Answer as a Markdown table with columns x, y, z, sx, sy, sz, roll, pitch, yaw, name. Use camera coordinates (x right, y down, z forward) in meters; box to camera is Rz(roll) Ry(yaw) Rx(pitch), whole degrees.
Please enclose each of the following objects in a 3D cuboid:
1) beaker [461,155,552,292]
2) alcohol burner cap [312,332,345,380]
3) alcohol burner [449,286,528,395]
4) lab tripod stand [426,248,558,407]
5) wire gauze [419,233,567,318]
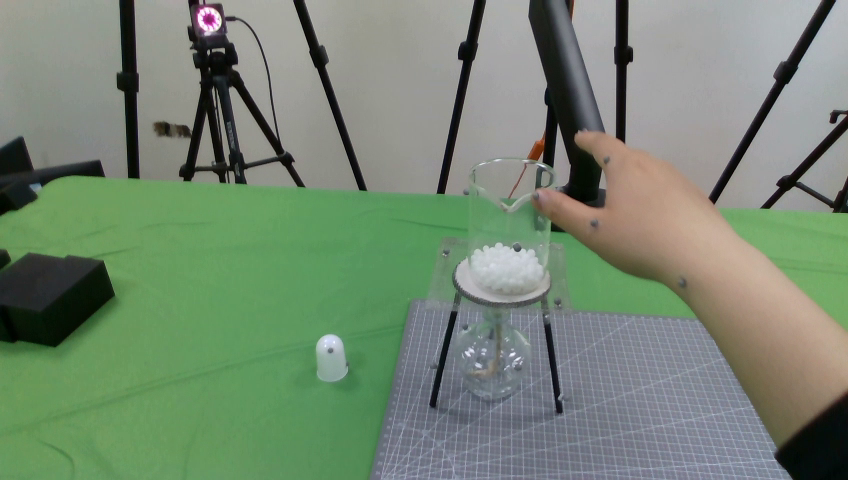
| x | y | z | sx | sy | sz | roll | pitch | yaw | name |
| --- | --- | --- | --- | --- | --- | --- | --- | --- | --- |
| 0.068 | -0.011 | 0.517 | 0.074 | 0.101 | 0.083 | 3 | 32 | 8 | beaker |
| -0.099 | 0.116 | 0.621 | 0.034 | 0.048 | 0.033 | 0 | 33 | 0 | alcohol burner cap |
| 0.064 | 0.092 | 0.586 | 0.078 | 0.120 | 0.077 | 1 | 33 | -1 | alcohol burner |
| 0.065 | 0.083 | 0.582 | 0.148 | 0.132 | 0.147 | -1 | 31 | 1 | lab tripod stand |
| 0.063 | 0.029 | 0.544 | 0.121 | 0.011 | 0.124 | 2 | 33 | 7 | wire gauze |
